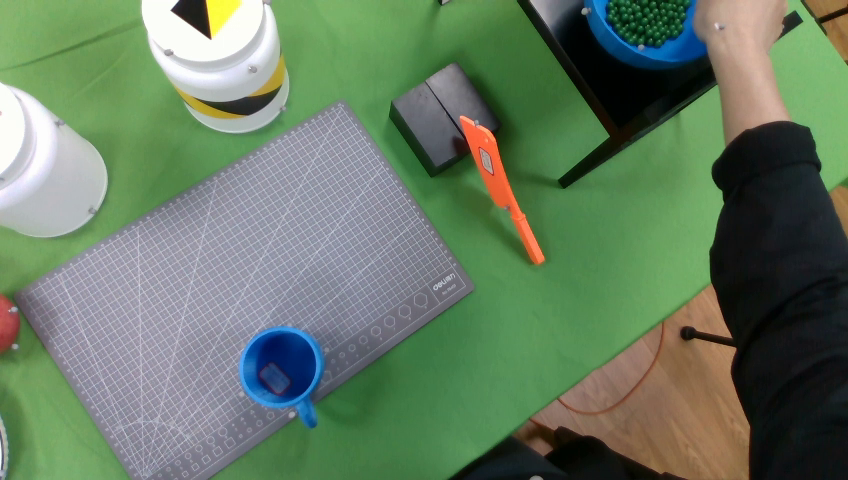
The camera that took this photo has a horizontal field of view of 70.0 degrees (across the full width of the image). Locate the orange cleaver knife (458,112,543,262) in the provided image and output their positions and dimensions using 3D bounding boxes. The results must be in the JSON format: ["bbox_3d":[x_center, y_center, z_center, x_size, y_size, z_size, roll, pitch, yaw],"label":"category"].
[{"bbox_3d":[0.095,-0.063,0.750,0.012,0.076,0.213,-35,118,-12],"label":"orange cleaver knife"}]

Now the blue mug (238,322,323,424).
[{"bbox_3d":[-0.148,0.149,0.671,0.082,0.106,0.116,-26,85,-11],"label":"blue mug"}]

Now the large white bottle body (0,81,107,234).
[{"bbox_3d":[-0.431,-0.085,0.630,0.131,0.185,0.130,1,80,-7],"label":"large white bottle body"}]

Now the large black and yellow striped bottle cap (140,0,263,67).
[{"bbox_3d":[-0.218,-0.228,0.597,0.115,0.019,0.114,2,81,-9],"label":"large black and yellow striped bottle cap"}]

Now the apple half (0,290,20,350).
[{"bbox_3d":[-0.474,0.096,0.653,0.053,0.074,0.080,42,75,-3],"label":"apple half"}]

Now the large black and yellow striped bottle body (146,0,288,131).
[{"bbox_3d":[-0.227,-0.212,0.679,0.131,0.184,0.130,1,80,-7],"label":"large black and yellow striped bottle body"}]

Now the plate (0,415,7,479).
[{"bbox_3d":[-0.549,0.230,0.639,0.209,0.038,0.208,1,82,-8],"label":"plate"}]

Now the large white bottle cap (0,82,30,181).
[{"bbox_3d":[-0.421,-0.099,0.547,0.115,0.018,0.114,1,81,-7],"label":"large white bottle cap"}]

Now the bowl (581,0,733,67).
[{"bbox_3d":[0.222,-0.237,0.617,0.152,0.077,0.151,1,81,-7],"label":"bowl"}]
